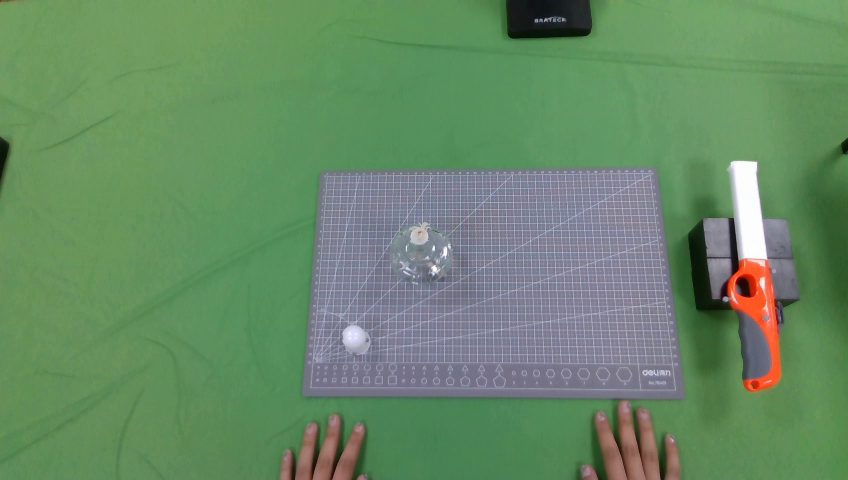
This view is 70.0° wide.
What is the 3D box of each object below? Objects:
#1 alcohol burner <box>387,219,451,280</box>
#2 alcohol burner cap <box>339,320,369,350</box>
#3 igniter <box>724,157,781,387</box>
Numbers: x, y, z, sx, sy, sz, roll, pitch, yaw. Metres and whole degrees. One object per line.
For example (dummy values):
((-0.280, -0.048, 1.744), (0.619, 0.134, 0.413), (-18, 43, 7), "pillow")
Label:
((-0.006, 0.006, 0.719), (0.078, 0.120, 0.077), (0, 70, 1), "alcohol burner")
((-0.085, 0.112, 0.723), (0.034, 0.048, 0.033), (-1, 70, 4), "alcohol burner cap")
((0.372, 0.030, 0.694), (0.057, 0.025, 0.274), (4, 69, 7), "igniter")
